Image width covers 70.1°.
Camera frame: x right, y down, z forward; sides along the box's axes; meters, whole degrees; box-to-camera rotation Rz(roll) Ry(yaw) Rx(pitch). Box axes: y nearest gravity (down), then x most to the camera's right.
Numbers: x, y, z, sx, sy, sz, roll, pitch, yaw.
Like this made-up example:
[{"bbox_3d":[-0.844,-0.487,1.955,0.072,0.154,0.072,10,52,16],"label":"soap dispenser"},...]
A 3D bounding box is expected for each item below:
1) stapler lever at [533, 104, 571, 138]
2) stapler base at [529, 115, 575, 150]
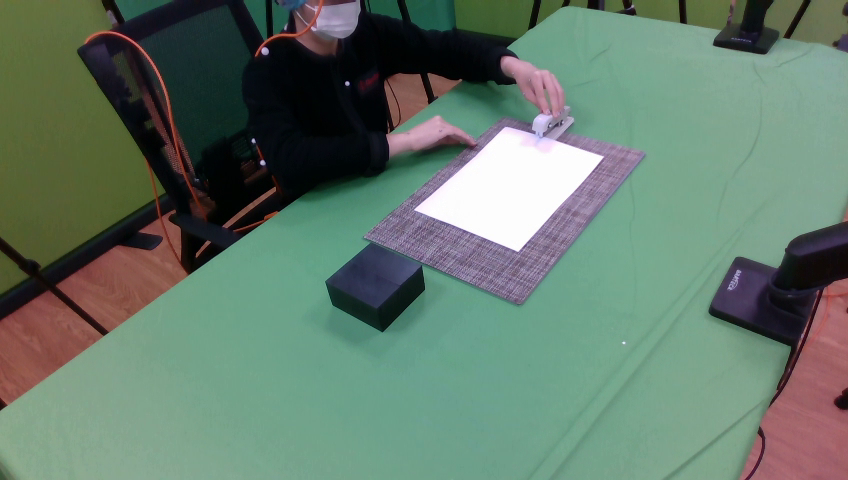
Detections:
[{"bbox_3d":[0.249,-0.239,1.170,0.026,0.040,0.118,23,48,29],"label":"stapler lever"},{"bbox_3d":[0.251,-0.219,1.185,0.041,0.024,0.131,23,47,28],"label":"stapler base"}]
